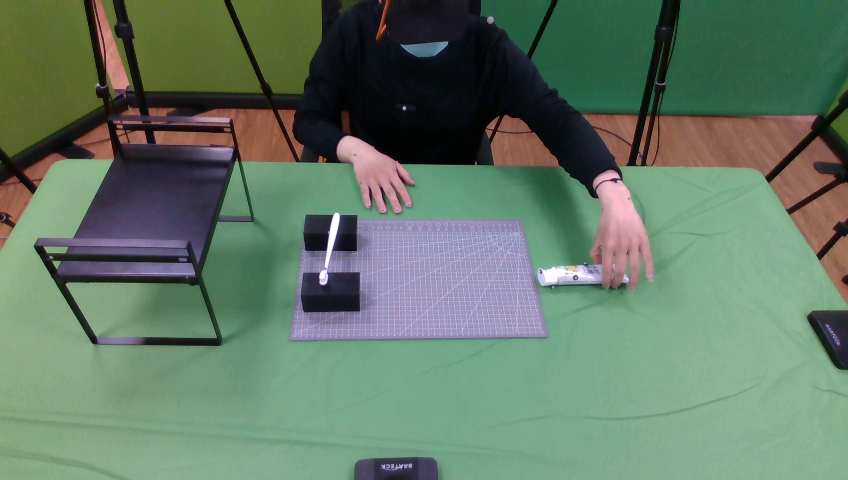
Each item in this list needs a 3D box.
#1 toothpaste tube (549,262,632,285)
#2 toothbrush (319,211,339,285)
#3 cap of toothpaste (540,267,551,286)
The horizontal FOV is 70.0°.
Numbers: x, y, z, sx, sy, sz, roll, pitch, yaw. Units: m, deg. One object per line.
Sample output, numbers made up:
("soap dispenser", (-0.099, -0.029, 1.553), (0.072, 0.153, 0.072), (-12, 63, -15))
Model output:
("toothpaste tube", (0.307, 0.064, 1.147), (0.165, 0.035, 0.054), (-4, 43, -10))
("toothbrush", (-0.172, 0.009, 1.103), (0.014, 0.017, 0.180), (-6, 44, 9))
("cap of toothpaste", (0.227, 0.067, 1.134), (0.011, 0.037, 0.037), (-11, 48, -12))
